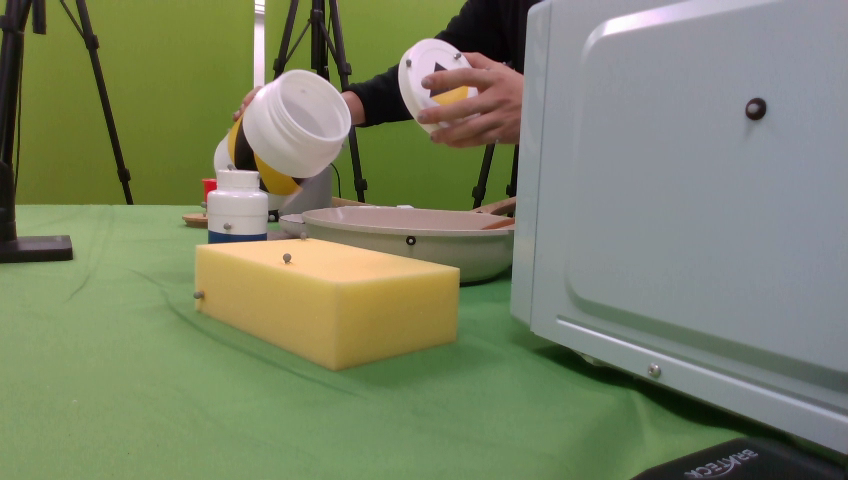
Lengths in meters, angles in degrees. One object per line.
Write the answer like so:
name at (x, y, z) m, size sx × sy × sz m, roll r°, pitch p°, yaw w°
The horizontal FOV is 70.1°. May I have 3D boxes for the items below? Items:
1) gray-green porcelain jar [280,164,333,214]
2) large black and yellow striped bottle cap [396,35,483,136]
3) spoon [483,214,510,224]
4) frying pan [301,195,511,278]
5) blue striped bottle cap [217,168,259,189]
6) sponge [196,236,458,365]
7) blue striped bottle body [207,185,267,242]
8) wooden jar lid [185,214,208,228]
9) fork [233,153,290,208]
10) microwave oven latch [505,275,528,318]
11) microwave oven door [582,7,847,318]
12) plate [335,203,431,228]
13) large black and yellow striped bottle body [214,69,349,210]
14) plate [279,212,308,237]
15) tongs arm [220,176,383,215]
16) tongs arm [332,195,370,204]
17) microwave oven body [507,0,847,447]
gray-green porcelain jar at (-0.238, -0.092, 1.221) m, size 0.106 × 0.126 × 0.106 m, roll 2°, pitch 7°, yaw 0°
large black and yellow striped bottle cap at (0.019, -0.172, 0.672) m, size 0.115 × 0.115 × 0.018 m, roll -5°, pitch -11°, yaw -40°
spoon at (0.076, -0.013, 0.794) m, size 0.193 × 0.021 × 0.042 m, roll -24°, pitch -7°, yaw 11°
frying pan at (0.050, -0.029, 0.864) m, size 0.305 × 0.102 × 0.490 m, roll 9°, pitch 18°, yaw 35°
blue striped bottle cap at (-0.202, -0.067, 0.656) m, size 0.044 × 0.020 × 0.044 m, roll 0°, pitch 11°, yaw 0°
sponge at (-0.087, 0.039, 0.500) m, size 0.206 × 0.061 × 0.119 m, roll 8°, pitch 9°, yaw 44°
blue striped bottle body at (-0.204, -0.016, 0.663) m, size 0.063 × 0.120 × 0.063 m, roll 2°, pitch 7°, yaw 0°
wooden jar lid at (-0.404, -0.037, 1.169) m, size 0.108 × 0.020 × 0.108 m, roll 3°, pitch 7°, yaw 0°
fork at (-0.396, -0.143, 1.486) m, size 0.028 × 0.018 × 0.208 m, roll 20°, pitch -26°, yaw 45°
microwave oven latch at (0.100, 0.041, 0.472) m, size 0.079 × 0.029 × 0.030 m, roll -2°, pitch 8°, yaw -31°
microwave oven door at (0.295, -0.067, 0.569) m, size 0.358 × 0.243 × 0.039 m, roll -3°, pitch 8°, yaw -31°
plate at (-0.089, -0.053, 1.309) m, size 0.208 × 0.039 × 0.207 m, roll 2°, pitch 8°, yaw 0°
large black and yellow striped bottle body at (-0.197, -0.138, 0.842) m, size 0.131 × 0.130 × 0.183 m, roll -6°, pitch -22°, yaw -44°
plate at (-0.139, -0.022, 1.021) m, size 0.209 × 0.038 × 0.209 m, roll 2°, pitch 8°, yaw 0°
tongs arm at (-0.285, -0.104, 1.445) m, size 0.389 × 0.027 × 0.028 m, roll 9°, pitch -4°, yaw -23°
tongs arm at (-0.241, -0.095, 1.373) m, size 0.387 × 0.026 × 0.050 m, roll 9°, pitch 0°, yaw -37°
microwave oven body at (0.331, -0.042, 0.425) m, size 0.444 × 0.260 × 0.324 m, roll -2°, pitch 8°, yaw -31°
